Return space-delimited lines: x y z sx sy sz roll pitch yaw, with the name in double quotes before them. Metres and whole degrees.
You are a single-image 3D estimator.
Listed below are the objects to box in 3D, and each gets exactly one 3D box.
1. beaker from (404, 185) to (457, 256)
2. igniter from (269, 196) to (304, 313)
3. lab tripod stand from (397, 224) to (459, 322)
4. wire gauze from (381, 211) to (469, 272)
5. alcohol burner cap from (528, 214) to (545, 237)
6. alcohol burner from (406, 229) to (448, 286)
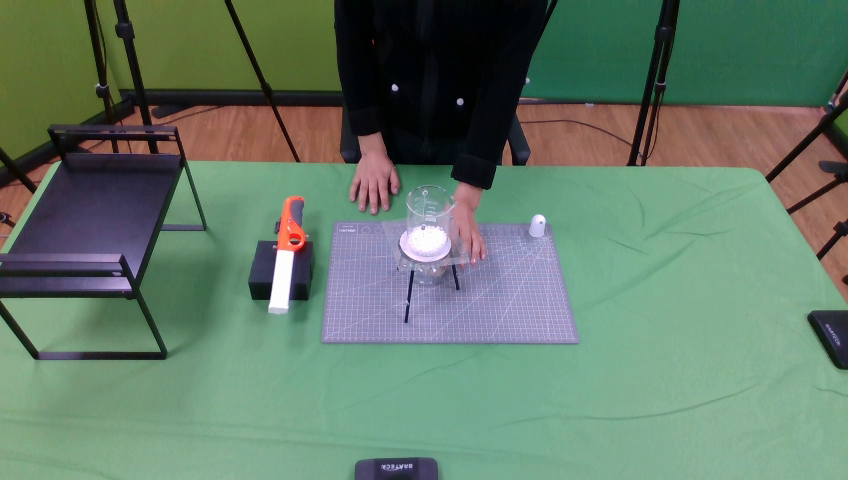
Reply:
"beaker" 0.009 -0.029 0.988 0.084 0.101 0.073 -1 47 -5
"igniter" -0.249 0.016 1.095 0.057 0.025 0.274 8 46 -13
"lab tripod stand" -0.003 0.052 1.067 0.148 0.132 0.147 3 47 -3
"wire gauze" 0.000 0.001 1.024 0.125 0.011 0.120 -11 48 -12
"alcohol burner cap" 0.231 -0.033 1.230 0.034 0.048 0.033 2 47 -2
"alcohol burner" 0.006 0.027 1.106 0.078 0.119 0.077 2 44 -2
